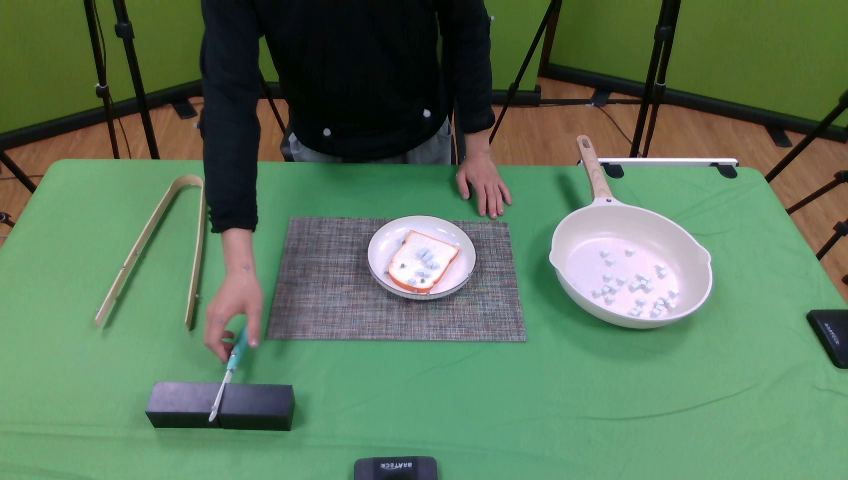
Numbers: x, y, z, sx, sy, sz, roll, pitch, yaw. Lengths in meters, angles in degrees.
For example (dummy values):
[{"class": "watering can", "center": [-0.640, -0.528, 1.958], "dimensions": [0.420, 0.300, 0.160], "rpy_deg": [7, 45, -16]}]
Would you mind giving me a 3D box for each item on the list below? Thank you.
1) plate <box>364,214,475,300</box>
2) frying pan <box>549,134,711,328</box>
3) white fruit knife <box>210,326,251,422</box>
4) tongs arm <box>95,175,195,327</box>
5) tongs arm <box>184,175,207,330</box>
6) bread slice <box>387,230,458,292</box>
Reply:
[{"class": "plate", "center": [-0.010, 0.036, 1.146], "dimensions": [0.208, 0.039, 0.206], "rpy_deg": [2, 46, -2]}, {"class": "frying pan", "center": [0.372, -0.035, 1.203], "dimensions": [0.307, 0.103, 0.484], "rpy_deg": [-1, 55, -6]}, {"class": "white fruit knife", "center": [-0.300, 0.201, 0.942], "dimensions": [0.016, 0.027, 0.206], "rpy_deg": [1, 32, -1]}, {"class": "tongs arm", "center": [-0.515, 0.006, 1.143], "dimensions": [0.051, 0.026, 0.382], "rpy_deg": [4, 45, -1]}, {"class": "tongs arm", "center": [-0.436, 0.009, 1.150], "dimensions": [0.028, 0.028, 0.385], "rpy_deg": [-7, 47, -7]}, {"class": "bread slice", "center": [-0.007, 0.043, 1.142], "dimensions": [0.107, 0.018, 0.134], "rpy_deg": [18, 46, 14]}]
